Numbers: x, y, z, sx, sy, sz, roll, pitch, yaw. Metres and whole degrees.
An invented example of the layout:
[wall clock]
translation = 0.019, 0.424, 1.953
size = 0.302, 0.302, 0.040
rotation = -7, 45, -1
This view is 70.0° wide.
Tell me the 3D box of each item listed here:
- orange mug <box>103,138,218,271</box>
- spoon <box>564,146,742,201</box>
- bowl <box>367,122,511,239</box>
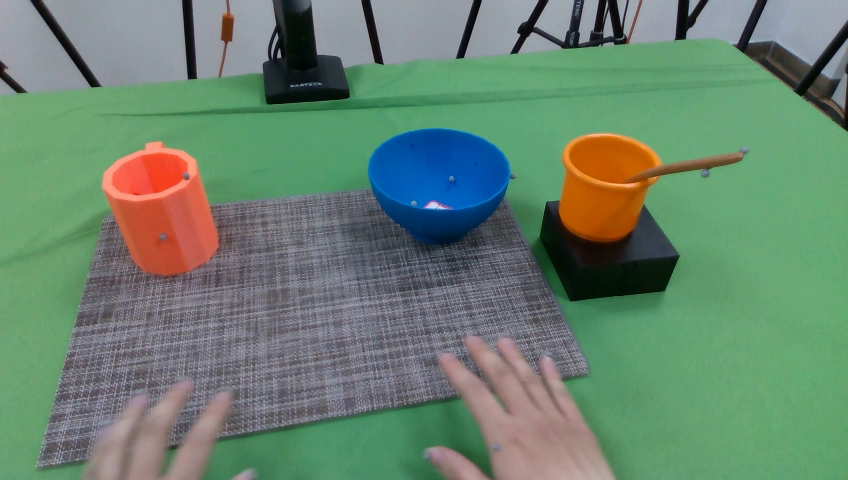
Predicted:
[orange mug]
translation = -0.266, -0.045, 0.619
size = 0.083, 0.101, 0.125
rotation = -12, 49, -14
[spoon]
translation = 0.196, -0.059, 0.546
size = 0.041, 0.193, 0.021
rotation = -27, 94, -26
[bowl]
translation = 0.014, -0.054, 0.655
size = 0.151, 0.077, 0.150
rotation = 1, 42, -1
